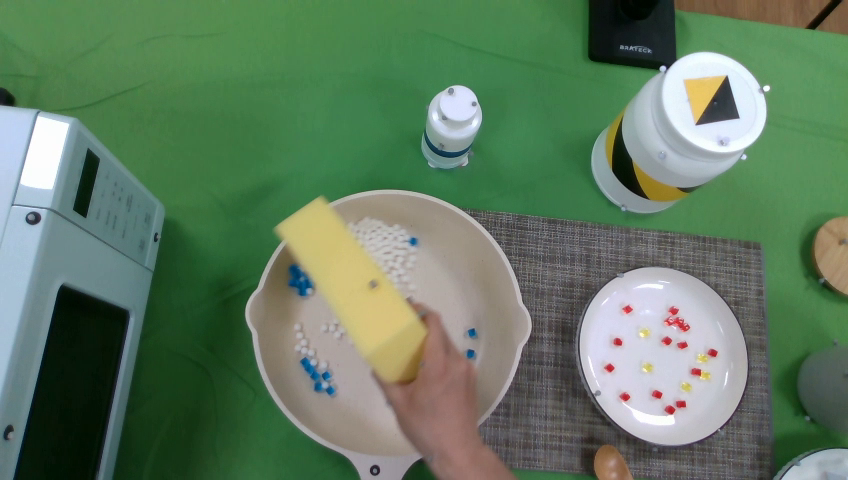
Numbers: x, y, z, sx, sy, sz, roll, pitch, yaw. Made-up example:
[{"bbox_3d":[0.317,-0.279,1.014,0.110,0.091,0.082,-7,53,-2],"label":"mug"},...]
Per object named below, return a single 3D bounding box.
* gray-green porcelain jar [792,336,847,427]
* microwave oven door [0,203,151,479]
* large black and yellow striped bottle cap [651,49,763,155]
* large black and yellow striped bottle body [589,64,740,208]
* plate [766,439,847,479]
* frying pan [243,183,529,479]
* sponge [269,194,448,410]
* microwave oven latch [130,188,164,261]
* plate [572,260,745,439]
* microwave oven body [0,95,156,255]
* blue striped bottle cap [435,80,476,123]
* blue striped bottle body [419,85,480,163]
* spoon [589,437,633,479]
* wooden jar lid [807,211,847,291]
[{"bbox_3d":[0.505,0.163,0.698,0.106,0.127,0.105,2,76,-6],"label":"gray-green porcelain jar"},{"bbox_3d":[-0.326,0.169,0.524,0.039,0.244,0.354,6,76,-5],"label":"microwave oven door"},{"bbox_3d":[0.293,-0.144,0.628,0.115,0.019,0.114,2,75,-5],"label":"large black and yellow striped bottle cap"},{"bbox_3d":[0.285,-0.124,0.711,0.131,0.184,0.130,1,76,-6],"label":"large black and yellow striped bottle body"},{"bbox_3d":[0.479,0.337,0.700,0.208,0.039,0.206,2,76,-6],"label":"plate"},{"bbox_3d":[-0.046,0.179,0.640,0.307,0.103,0.484,5,68,-3],"label":"frying pan"},{"bbox_3d":[-0.070,0.059,0.616,0.061,0.119,0.204,-36,50,-7],"label":"sponge"},{"bbox_3d":[-0.313,-0.018,0.674,0.030,0.029,0.079,9,77,-5],"label":"microwave oven latch"},{"bbox_3d":[0.274,0.128,0.722,0.209,0.038,0.208,1,77,-6],"label":"plate"},{"bbox_3d":[-0.466,0.112,0.526,0.326,0.261,0.439,7,77,-5],"label":"microwave oven body"},{"bbox_3d":[0.035,-0.153,0.668,0.044,0.021,0.044,1,74,-4],"label":"blue striped bottle cap"},{"bbox_3d":[0.030,-0.141,0.717,0.063,0.121,0.063,2,76,-6],"label":"blue striped bottle body"},{"bbox_3d":[0.255,0.302,0.688,0.193,0.022,0.041,47,59,4],"label":"spoon"},{"bbox_3d":[0.550,0.016,0.792,0.108,0.021,0.108,1,78,-6],"label":"wooden jar lid"}]
